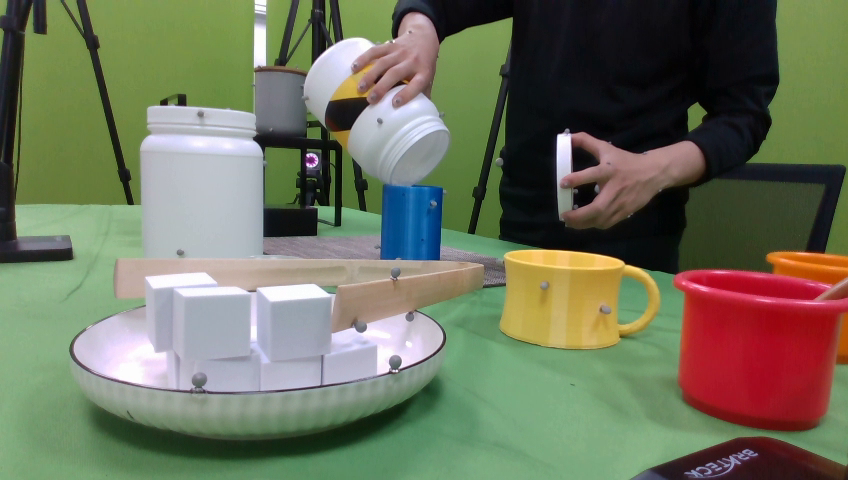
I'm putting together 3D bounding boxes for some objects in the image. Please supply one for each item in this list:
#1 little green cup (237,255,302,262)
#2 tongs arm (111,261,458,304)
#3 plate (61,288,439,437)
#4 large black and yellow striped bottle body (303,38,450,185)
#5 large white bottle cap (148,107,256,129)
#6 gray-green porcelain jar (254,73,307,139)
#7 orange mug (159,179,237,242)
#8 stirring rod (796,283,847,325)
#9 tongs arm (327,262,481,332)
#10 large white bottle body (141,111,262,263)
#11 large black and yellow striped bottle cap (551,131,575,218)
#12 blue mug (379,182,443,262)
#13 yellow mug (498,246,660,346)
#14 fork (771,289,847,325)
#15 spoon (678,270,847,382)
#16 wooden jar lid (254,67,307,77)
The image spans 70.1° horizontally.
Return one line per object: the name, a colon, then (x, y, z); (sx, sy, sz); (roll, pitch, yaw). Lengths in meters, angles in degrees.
little green cup: (-0.150, 0.038, 0.590); (0.061, 0.038, 0.061); (3, 6, 0)
tongs arm: (-0.080, 0.031, 0.527); (0.028, 0.027, 0.389); (-3, -3, 33)
plate: (-0.095, 0.069, 0.362); (0.208, 0.039, 0.207); (3, 7, 0)
large black and yellow striped bottle body: (-0.063, -0.170, 0.828); (0.183, 0.130, 0.131); (47, 26, 18)
large white bottle cap: (-0.250, -0.137, 0.686); (0.115, 0.018, 0.115); (2, 8, 0)
gray-green porcelain jar: (-0.298, -0.277, 1.259); (0.106, 0.126, 0.106); (3, 7, 0)
orange mug: (-0.368, -0.052, 0.991); (0.127, 0.101, 0.083); (-10, 14, -41)
stirring rod: (0.346, 0.019, 0.460); (0.014, 0.176, 0.006); (-17, 59, -26)
tongs arm: (-0.003, 0.036, 0.493); (0.050, 0.026, 0.386); (1, 0, 19)
large white bottle body: (-0.254, -0.054, 0.697); (0.131, 0.184, 0.130); (2, 7, 0)
large black and yellow striped bottle cap: (0.185, -0.087, 0.802); (0.019, 0.115, 0.115); (0, 6, 20)
blue mug: (-0.020, -0.026, 0.833); (0.082, 0.106, 0.116); (1, 7, -7)
yellow mug: (0.130, 0.045, 0.508); (0.131, 0.064, 0.100); (4, 7, 6)
fork: (0.335, 0.018, 0.443); (0.028, 0.018, 0.207); (-1, -36, -20)
spoon: (0.229, 0.031, 0.338); (0.193, 0.021, 0.042); (-44, -17, 27)
wooden jar lid: (-0.296, -0.339, 1.251); (0.108, 0.020, 0.108); (2, 7, 0)
